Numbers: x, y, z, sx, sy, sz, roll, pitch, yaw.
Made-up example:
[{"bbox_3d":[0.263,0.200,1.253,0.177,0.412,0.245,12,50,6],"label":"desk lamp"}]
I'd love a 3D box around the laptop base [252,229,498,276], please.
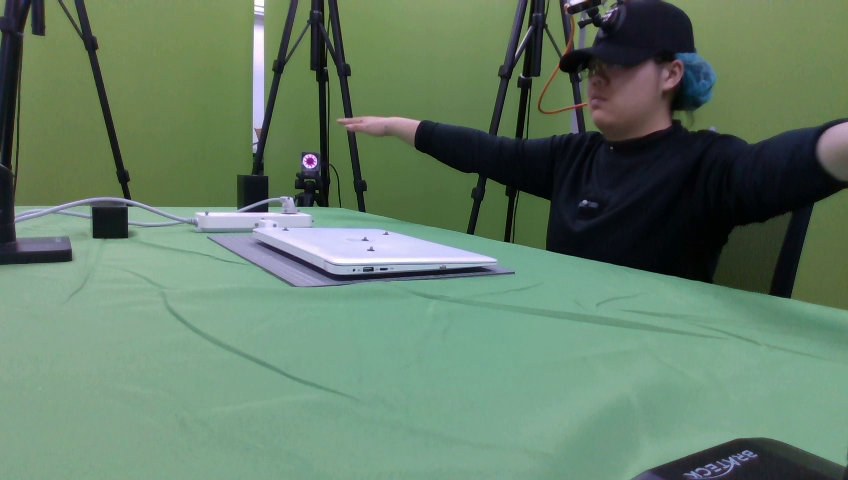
[{"bbox_3d":[-0.089,0.016,0.876,0.237,0.023,0.352,2,6,-32],"label":"laptop base"}]

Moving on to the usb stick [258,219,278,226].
[{"bbox_3d":[-0.255,-0.019,0.996,0.021,0.027,0.059,-2,12,-29],"label":"usb stick"}]

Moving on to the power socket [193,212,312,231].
[{"bbox_3d":[-0.322,-0.037,1.153,0.228,0.032,0.072,-2,7,-33],"label":"power socket"}]

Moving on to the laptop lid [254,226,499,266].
[{"bbox_3d":[-0.086,0.004,0.876,0.243,0.013,0.355,1,7,-30],"label":"laptop lid"}]

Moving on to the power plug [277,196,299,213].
[{"bbox_3d":[-0.274,-0.062,1.217,0.035,0.052,0.072,0,5,-21],"label":"power plug"}]
